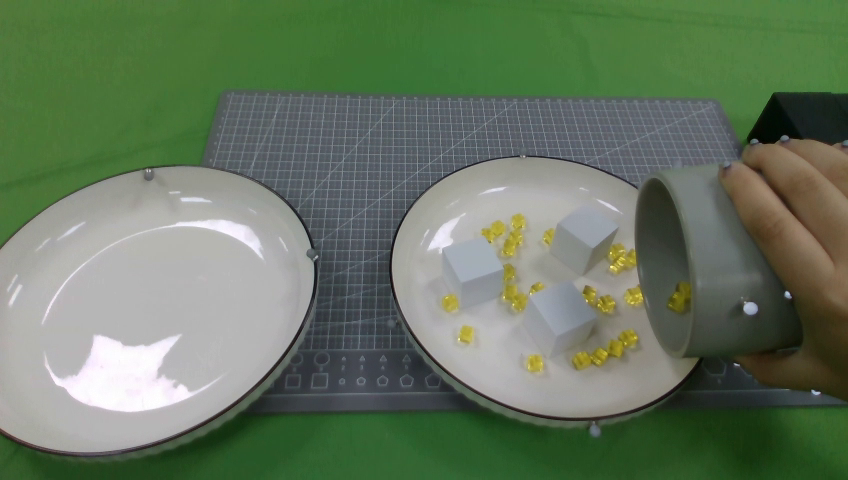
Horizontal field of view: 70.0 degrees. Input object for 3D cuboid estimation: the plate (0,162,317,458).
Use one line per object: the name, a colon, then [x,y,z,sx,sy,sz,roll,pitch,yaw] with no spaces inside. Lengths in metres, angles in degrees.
plate: [-0.170,0.036,0.380,0.209,0.038,0.207,1,52,-1]

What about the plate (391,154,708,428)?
plate: [0.082,0.028,0.402,0.208,0.039,0.205,2,52,-2]

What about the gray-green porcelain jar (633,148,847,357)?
gray-green porcelain jar: [0.192,0.006,0.333,0.126,0.107,0.105,-6,51,5]
